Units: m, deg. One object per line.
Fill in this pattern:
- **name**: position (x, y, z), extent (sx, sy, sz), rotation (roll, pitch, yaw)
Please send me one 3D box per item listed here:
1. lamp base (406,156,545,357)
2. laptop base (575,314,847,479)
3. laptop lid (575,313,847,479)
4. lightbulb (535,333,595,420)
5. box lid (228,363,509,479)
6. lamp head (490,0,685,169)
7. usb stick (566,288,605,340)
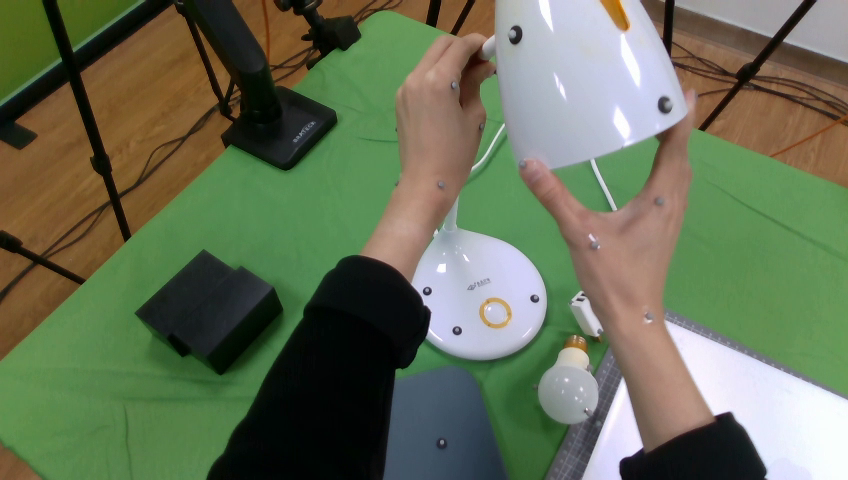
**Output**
- **lamp base**: position (0.050, 0.009, 0.642), extent (0.160, 0.182, 0.177), rotation (-32, 59, -19)
- **laptop base**: position (0.343, 0.238, 0.586), extent (0.352, 0.023, 0.234), rotation (24, 63, 15)
- **laptop lid**: position (0.342, 0.233, 0.575), extent (0.355, 0.013, 0.241), rotation (26, 63, 16)
- **lightbulb**: position (0.151, 0.138, 0.636), extent (0.059, 0.060, 0.107), rotation (15, 42, 10)
- **box lid**: position (-0.031, 0.303, 0.549), extent (0.264, 0.015, 0.367), rotation (-13, 58, -8)
- **lamp head**: position (0.089, -0.119, 0.383), extent (0.112, 0.112, 0.123), rotation (-28, 99, -17)
- **usb stick**: position (0.182, 0.084, 0.672), extent (0.027, 0.059, 0.021), rotation (-38, 21, -27)
